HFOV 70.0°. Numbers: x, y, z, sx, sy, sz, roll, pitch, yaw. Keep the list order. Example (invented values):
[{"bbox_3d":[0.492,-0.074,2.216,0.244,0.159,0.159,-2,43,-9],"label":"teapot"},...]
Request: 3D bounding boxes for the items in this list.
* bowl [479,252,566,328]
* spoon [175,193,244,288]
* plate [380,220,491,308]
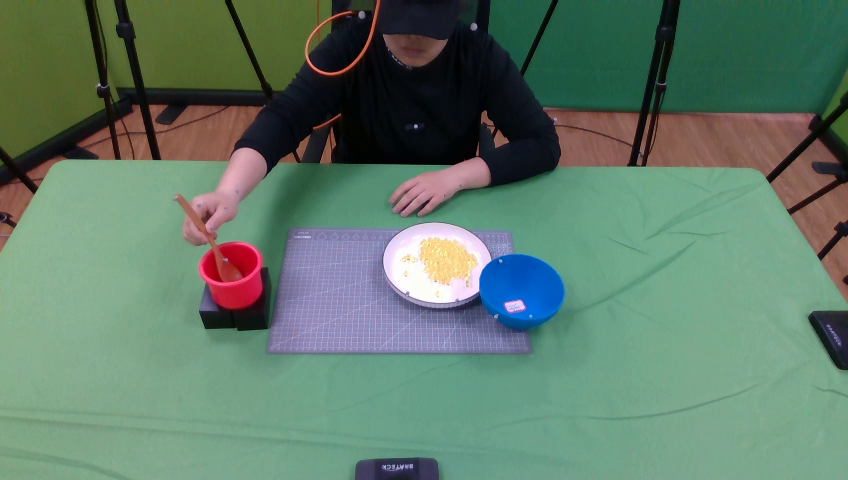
[{"bbox_3d":[0.167,0.103,1.067,0.151,0.077,0.150,2,46,-2],"label":"bowl"},{"bbox_3d":[-0.346,0.002,0.982,0.021,0.195,0.041,-5,36,21],"label":"spoon"},{"bbox_3d":[0.022,0.048,1.137,0.208,0.039,0.206,2,46,-2],"label":"plate"}]
